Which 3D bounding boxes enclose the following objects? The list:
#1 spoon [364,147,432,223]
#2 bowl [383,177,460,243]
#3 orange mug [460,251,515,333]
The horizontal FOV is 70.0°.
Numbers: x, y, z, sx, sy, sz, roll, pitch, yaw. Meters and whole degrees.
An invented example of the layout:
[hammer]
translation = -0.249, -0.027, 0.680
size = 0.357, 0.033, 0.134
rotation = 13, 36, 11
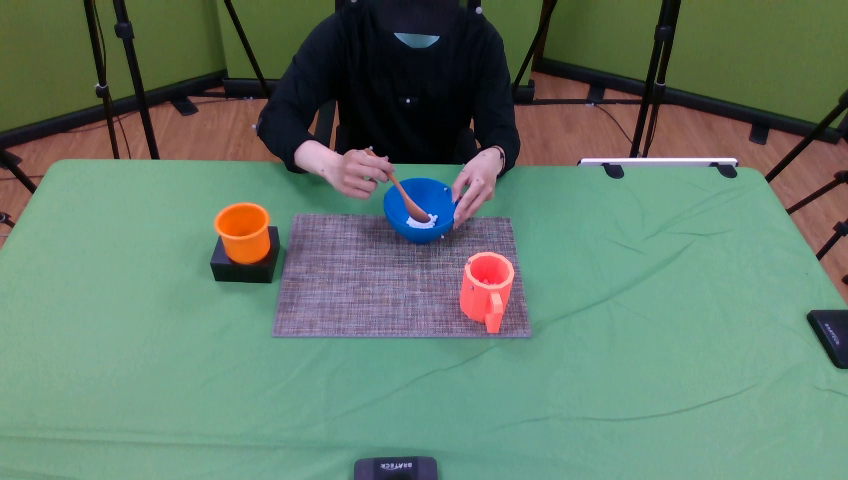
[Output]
[spoon]
translation = -0.050, -0.100, 1.134
size = 0.041, 0.194, 0.021
rotation = -21, 28, 36
[bowl]
translation = -0.006, -0.048, 1.197
size = 0.151, 0.077, 0.150
rotation = 2, 46, -2
[orange mug]
translation = 0.114, 0.095, 1.053
size = 0.083, 0.101, 0.125
rotation = -5, 42, -8
